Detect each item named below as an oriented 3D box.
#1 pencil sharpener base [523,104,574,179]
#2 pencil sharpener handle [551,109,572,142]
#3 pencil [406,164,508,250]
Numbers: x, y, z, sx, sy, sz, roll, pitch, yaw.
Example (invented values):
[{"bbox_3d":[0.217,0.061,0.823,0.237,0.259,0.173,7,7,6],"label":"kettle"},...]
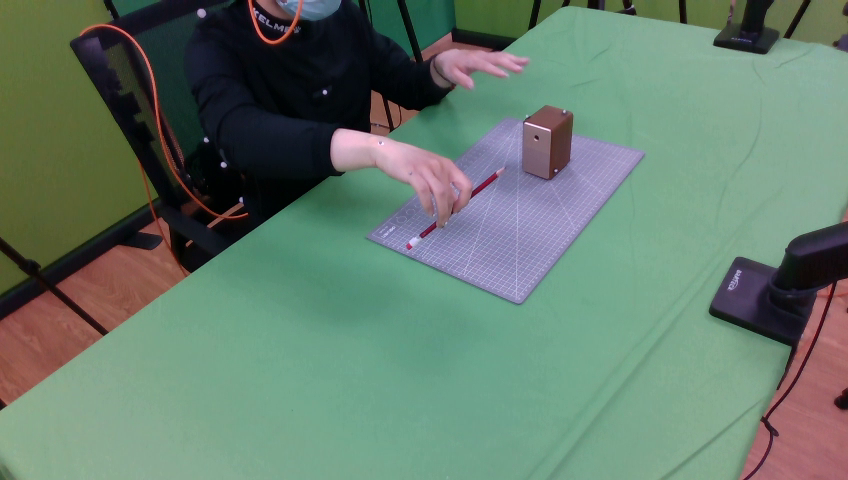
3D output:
[{"bbox_3d":[0.220,-0.175,1.071,0.061,0.107,0.077,26,50,33],"label":"pencil sharpener base"},{"bbox_3d":[0.253,-0.212,1.090,0.035,0.068,0.031,22,48,36],"label":"pencil sharpener handle"},{"bbox_3d":[0.045,-0.046,0.861,0.193,0.012,0.012,-39,36,19],"label":"pencil"}]
